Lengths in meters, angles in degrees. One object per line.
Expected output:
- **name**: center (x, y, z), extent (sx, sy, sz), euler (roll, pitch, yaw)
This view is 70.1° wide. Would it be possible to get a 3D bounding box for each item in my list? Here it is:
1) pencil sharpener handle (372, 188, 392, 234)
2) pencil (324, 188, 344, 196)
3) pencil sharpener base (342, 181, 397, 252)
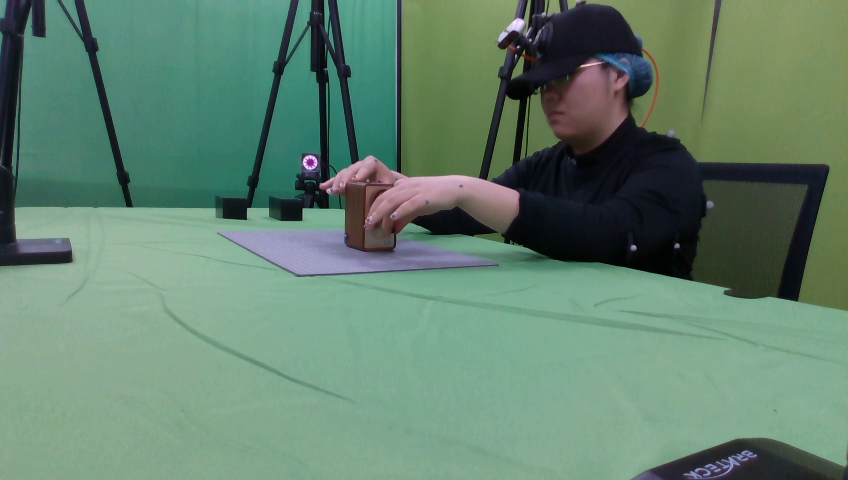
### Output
- **pencil sharpener handle**: center (-0.057, -0.044, 0.913), extent (0.036, 0.067, 0.030), euler (0, 8, -34)
- **pencil**: center (-0.127, -0.077, 1.021), extent (0.012, 0.012, 0.193), euler (-2, 9, -32)
- **pencil sharpener base**: center (-0.085, -0.038, 0.957), extent (0.062, 0.107, 0.076), euler (-2, 9, -33)
